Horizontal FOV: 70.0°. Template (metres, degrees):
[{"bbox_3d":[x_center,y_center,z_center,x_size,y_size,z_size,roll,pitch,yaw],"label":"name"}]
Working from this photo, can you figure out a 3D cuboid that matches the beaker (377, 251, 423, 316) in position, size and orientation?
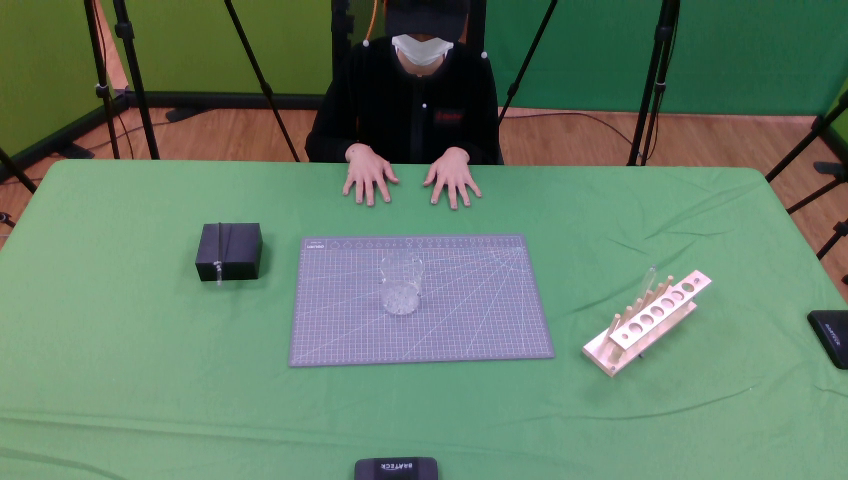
[{"bbox_3d":[-0.040,0.081,1.060,0.074,0.101,0.083,-32,57,-30],"label":"beaker"}]

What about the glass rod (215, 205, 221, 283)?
[{"bbox_3d":[-0.376,0.003,1.104,0.008,0.008,0.198,-8,47,-12],"label":"glass rod"}]

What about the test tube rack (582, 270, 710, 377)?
[{"bbox_3d":[0.389,0.132,1.058,0.242,0.085,0.066,-28,53,-28],"label":"test tube rack"}]

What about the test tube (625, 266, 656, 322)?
[{"bbox_3d":[0.366,0.096,1.027,0.017,0.151,0.017,1,47,0],"label":"test tube"}]
